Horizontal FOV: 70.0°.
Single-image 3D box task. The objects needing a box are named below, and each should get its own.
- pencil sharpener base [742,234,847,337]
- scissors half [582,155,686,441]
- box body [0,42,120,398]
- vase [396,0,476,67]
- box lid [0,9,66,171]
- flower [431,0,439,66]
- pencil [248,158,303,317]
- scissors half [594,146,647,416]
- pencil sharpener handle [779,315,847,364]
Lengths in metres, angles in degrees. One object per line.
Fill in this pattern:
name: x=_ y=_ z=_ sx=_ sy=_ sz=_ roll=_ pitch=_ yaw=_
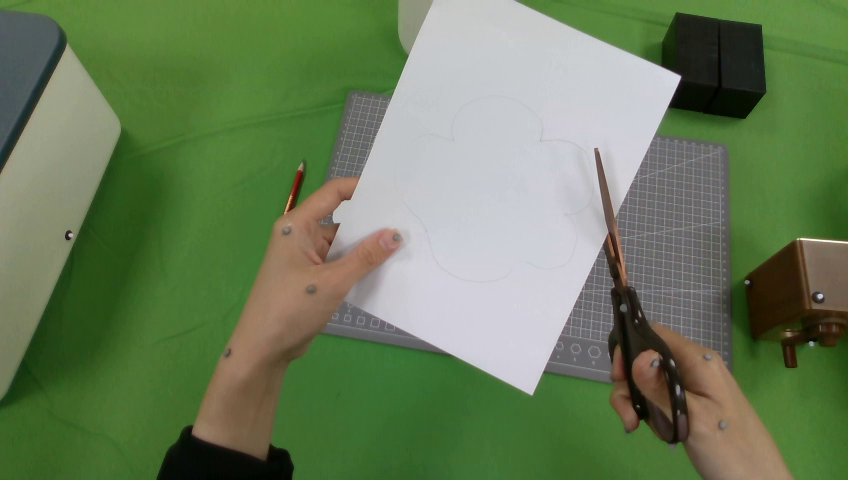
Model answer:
pencil sharpener base: x=0.360 y=0.051 z=0.580 sx=0.061 sy=0.108 sz=0.076 roll=5 pitch=67 yaw=2
scissors half: x=0.119 y=0.027 z=0.353 sx=0.013 sy=0.040 sz=0.174 roll=-11 pitch=69 yaw=-4
box body: x=-0.494 y=-0.035 z=0.586 sx=0.254 sy=0.161 sz=0.361 roll=9 pitch=67 yaw=4
vase: x=0.013 y=-0.288 z=0.673 sx=0.098 sy=0.201 sz=0.097 roll=0 pitch=65 yaw=1
box lid: x=-0.494 y=-0.067 z=0.518 sx=0.263 sy=0.015 sz=0.369 roll=9 pitch=67 yaw=4
flower: x=0.008 y=-0.334 z=0.602 sx=0.044 sy=0.365 sz=0.038 roll=2 pitch=49 yaw=5
pencil: x=-0.158 y=-0.008 z=0.659 sx=0.012 sy=0.012 sz=0.192 roll=10 pitch=66 yaw=5
scissors half: x=0.119 y=0.028 z=0.377 sx=0.013 sy=0.040 sz=0.176 roll=-12 pitch=105 yaw=0
pencil sharpener handle: x=0.352 y=0.092 z=0.549 sx=0.036 sy=0.068 sz=0.030 roll=10 pitch=67 yaw=-10
